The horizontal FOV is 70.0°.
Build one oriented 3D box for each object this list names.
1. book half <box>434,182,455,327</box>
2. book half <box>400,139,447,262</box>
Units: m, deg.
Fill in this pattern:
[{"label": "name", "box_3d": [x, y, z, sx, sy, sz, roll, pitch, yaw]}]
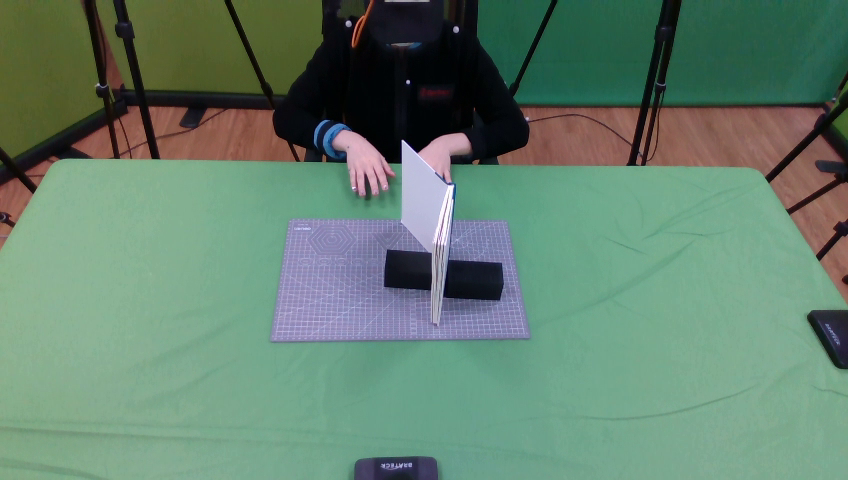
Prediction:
[{"label": "book half", "box_3d": [0.033, 0.028, 1.036, 0.016, 0.211, 0.148, 7, 46, 4]}, {"label": "book half", "box_3d": [-0.005, -0.066, 1.124, 0.007, 0.211, 0.142, -26, 53, -24]}]
